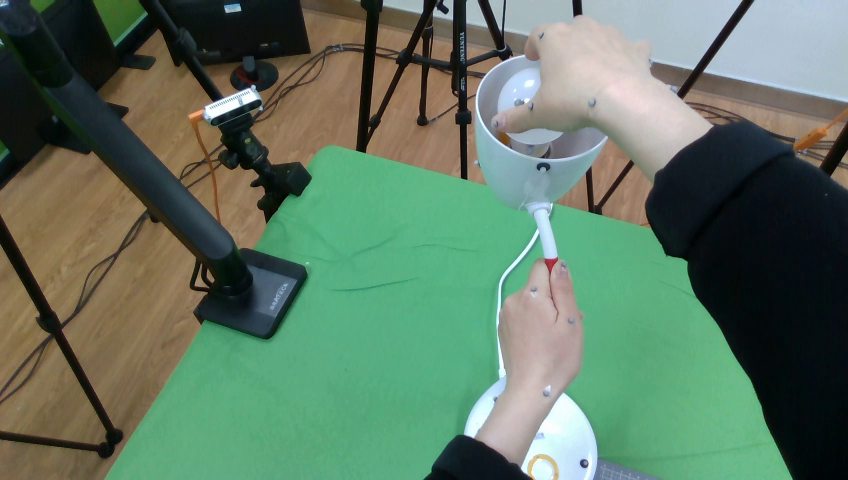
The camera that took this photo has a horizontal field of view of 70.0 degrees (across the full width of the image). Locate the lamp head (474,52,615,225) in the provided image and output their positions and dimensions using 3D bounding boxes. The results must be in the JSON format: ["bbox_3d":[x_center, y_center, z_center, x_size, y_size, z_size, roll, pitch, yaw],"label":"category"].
[{"bbox_3d":[0.095,-0.077,0.524,0.112,0.124,0.111,0,56,0],"label":"lamp head"}]

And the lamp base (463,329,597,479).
[{"bbox_3d":[0.120,0.189,0.674,0.161,0.182,0.177,-20,54,-13],"label":"lamp base"}]

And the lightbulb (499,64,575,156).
[{"bbox_3d":[0.091,-0.098,0.503,0.059,0.108,0.059,-2,63,4],"label":"lightbulb"}]
